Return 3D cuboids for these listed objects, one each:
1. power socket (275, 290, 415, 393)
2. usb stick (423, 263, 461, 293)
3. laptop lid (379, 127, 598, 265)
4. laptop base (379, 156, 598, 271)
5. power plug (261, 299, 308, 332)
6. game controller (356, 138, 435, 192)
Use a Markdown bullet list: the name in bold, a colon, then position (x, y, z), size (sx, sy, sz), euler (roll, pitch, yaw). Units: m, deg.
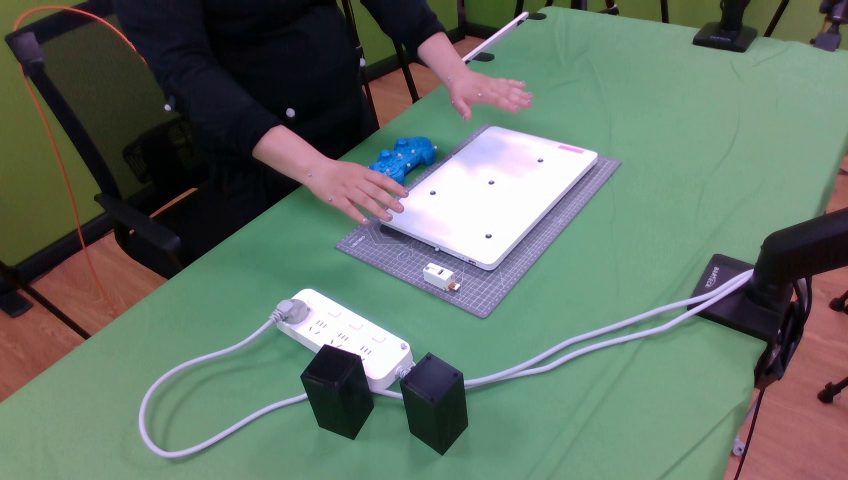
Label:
- **power socket**: position (-0.114, 0.133, 0.821), size (0.225, 0.033, 0.072), euler (24, 48, 32)
- **usb stick**: position (0.028, 0.058, 0.889), size (0.059, 0.027, 0.021), euler (25, 48, 30)
- **laptop lid**: position (0.117, -0.095, 1.048), size (0.239, 0.013, 0.358), euler (23, 49, 34)
- **laptop base**: position (0.120, -0.085, 1.054), size (0.233, 0.023, 0.355), euler (21, 48, 34)
- **power plug**: position (-0.193, 0.109, 0.830), size (0.073, 0.053, 0.035), euler (-36, 48, -23)
- **game controller**: position (-0.049, -0.150, 1.136), size (0.096, 0.052, 0.155), euler (28, 51, 27)
